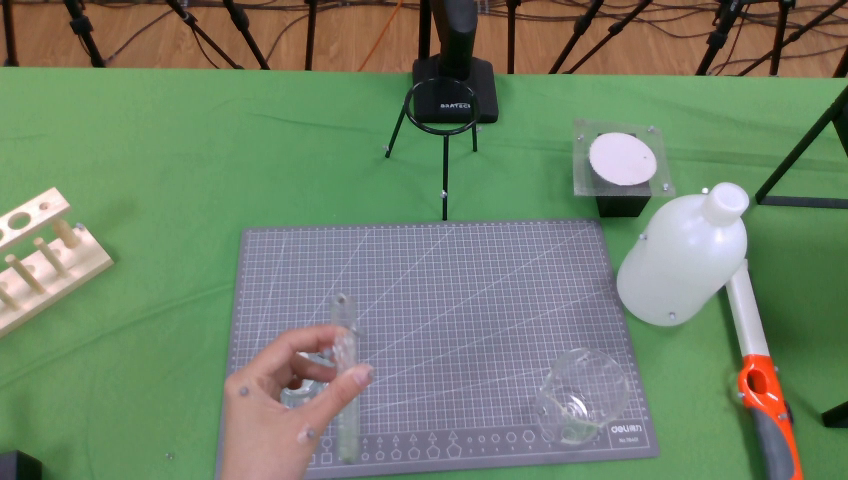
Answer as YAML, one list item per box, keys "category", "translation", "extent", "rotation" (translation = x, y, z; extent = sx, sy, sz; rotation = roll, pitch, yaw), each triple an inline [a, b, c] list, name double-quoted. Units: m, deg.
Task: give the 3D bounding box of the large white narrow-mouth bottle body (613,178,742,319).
- category: "large white narrow-mouth bottle body"
  translation: [0.278, 0.004, 0.652]
  extent: [0.102, 0.196, 0.101]
  rotation: [1, 58, -2]

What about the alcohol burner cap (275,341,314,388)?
- category: "alcohol burner cap"
  translation: [-0.121, 0.113, 0.560]
  extent: [0.034, 0.048, 0.033]
  rotation: [1, 53, 0]

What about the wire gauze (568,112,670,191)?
- category: "wire gauze"
  translation: [0.244, -0.112, 0.771]
  extent: [0.121, 0.011, 0.124]
  rotation: [5, 58, -1]

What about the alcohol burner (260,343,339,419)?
- category: "alcohol burner"
  translation: [-0.123, 0.131, 0.592]
  extent: [0.078, 0.120, 0.077]
  rotation: [3, 57, -4]

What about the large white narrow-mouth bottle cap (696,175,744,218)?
- category: "large white narrow-mouth bottle cap"
  translation: [0.282, -0.042, 0.579]
  extent: [0.038, 0.024, 0.037]
  rotation: [2, 59, -2]

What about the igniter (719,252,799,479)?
- category: "igniter"
  translation: [0.369, 0.133, 0.679]
  extent: [0.057, 0.025, 0.274]
  rotation: [10, 58, -10]

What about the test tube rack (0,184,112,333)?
- category: "test tube rack"
  translation: [-0.470, 0.051, 0.635]
  extent: [0.242, 0.086, 0.066]
  rotation: [-39, 69, -24]

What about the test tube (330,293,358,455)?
- category: "test tube"
  translation: [-0.054, 0.098, 0.415]
  extent: [0.017, 0.151, 0.017]
  rotation: [3, 35, -2]

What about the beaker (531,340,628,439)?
- category: "beaker"
  translation: [0.147, 0.154, 0.605]
  extent: [0.084, 0.101, 0.073]
  rotation: [-5, 59, -6]

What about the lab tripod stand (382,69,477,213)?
- category: "lab tripod stand"
  translation: [0.015, -0.128, 0.749]
  extent: [0.148, 0.132, 0.147]
  rotation: [3, 60, -4]
